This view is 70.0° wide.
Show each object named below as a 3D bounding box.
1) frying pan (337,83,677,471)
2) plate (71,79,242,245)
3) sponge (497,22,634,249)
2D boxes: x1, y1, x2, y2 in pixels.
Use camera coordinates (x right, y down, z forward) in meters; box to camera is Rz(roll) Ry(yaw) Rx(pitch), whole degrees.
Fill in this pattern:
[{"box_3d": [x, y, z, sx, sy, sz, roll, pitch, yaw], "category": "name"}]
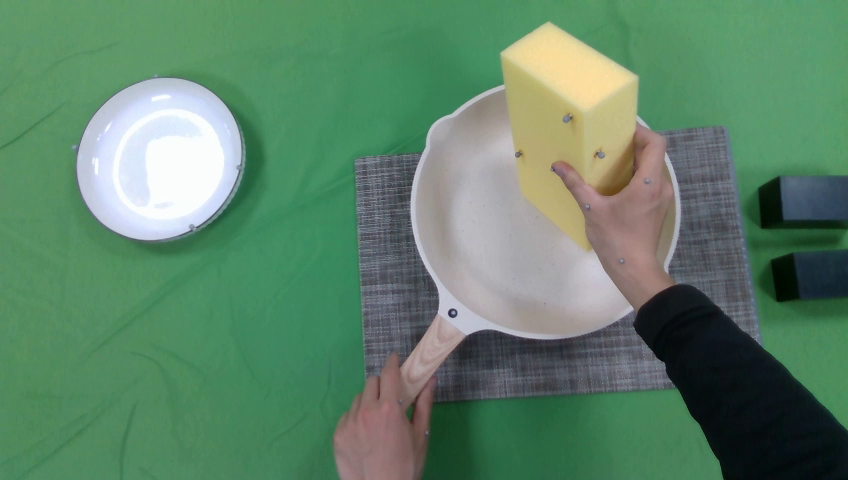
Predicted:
[{"box_3d": [0.065, 0.042, 0.665, 0.306, 0.103, 0.487, 37, 76, 10], "category": "frying pan"}, {"box_3d": [-0.323, -0.094, 0.747, 0.207, 0.039, 0.207, 0, 80, 3], "category": "plate"}, {"box_3d": [0.146, -0.099, 0.618, 0.061, 0.209, 0.117, -35, 53, -11], "category": "sponge"}]
